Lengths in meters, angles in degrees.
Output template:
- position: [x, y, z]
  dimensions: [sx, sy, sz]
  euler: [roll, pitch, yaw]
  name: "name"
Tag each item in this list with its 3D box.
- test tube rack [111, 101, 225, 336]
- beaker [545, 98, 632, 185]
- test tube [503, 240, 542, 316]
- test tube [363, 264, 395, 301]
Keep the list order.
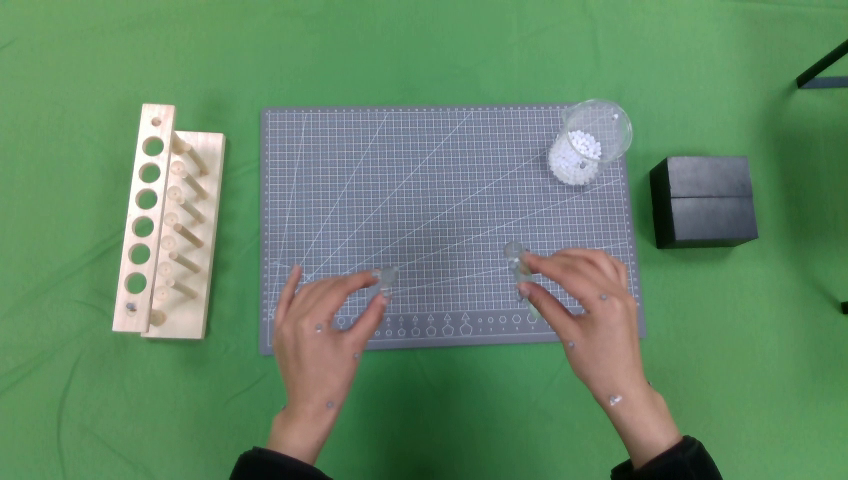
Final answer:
- position: [-0.275, -0.020, 0.665]
  dimensions: [0.067, 0.085, 0.241]
  euler: [3, 78, -4]
  name: "test tube rack"
- position: [0.185, -0.112, 0.709]
  dimensions: [0.084, 0.100, 0.074]
  euler: [29, 77, 4]
  name: "beaker"
- position: [0.090, 0.038, 0.543]
  dimensions: [0.017, 0.152, 0.017]
  euler: [-7, 62, 14]
  name: "test tube"
- position: [-0.045, 0.043, 0.581]
  dimensions: [0.017, 0.150, 0.017]
  euler: [2, 77, -10]
  name: "test tube"
